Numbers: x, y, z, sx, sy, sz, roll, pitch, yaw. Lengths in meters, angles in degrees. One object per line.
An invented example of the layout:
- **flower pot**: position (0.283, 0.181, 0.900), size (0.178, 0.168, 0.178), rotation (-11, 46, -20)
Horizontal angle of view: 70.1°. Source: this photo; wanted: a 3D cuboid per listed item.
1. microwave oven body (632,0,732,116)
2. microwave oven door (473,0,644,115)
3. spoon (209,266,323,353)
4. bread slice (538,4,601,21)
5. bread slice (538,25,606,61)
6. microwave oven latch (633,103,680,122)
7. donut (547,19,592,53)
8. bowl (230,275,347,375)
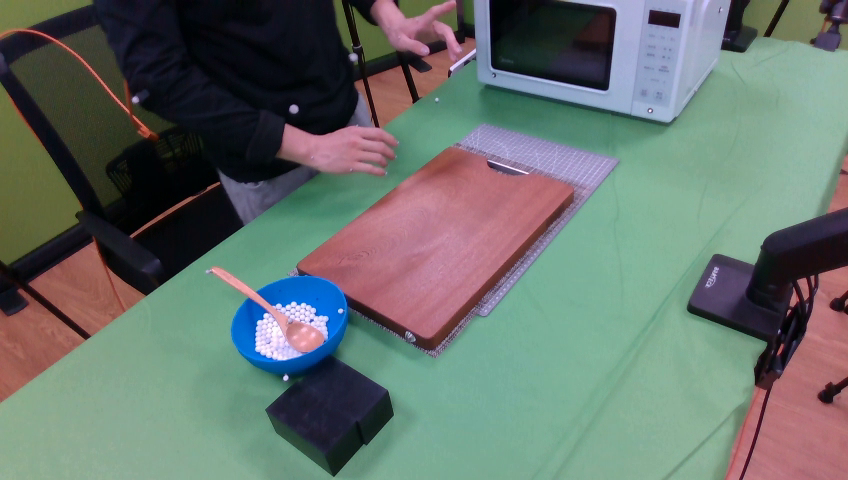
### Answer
- **microwave oven body**: position (0.377, -0.462, 1.267), size (0.438, 0.261, 0.327), rotation (21, 48, 30)
- **microwave oven door**: position (0.257, -0.396, 1.199), size (0.353, 0.245, 0.039), rotation (21, 48, 29)
- **spoon**: position (-0.213, 0.088, 0.806), size (0.193, 0.021, 0.042), rotation (37, 56, 11)
- **bread slice**: position (0.313, -0.483, 1.278), size (0.106, 0.018, 0.135), rotation (14, 31, 26)
- **bread slice**: position (0.334, -0.441, 1.337), size (0.132, 0.019, 0.104), rotation (-35, 43, -21)
- **microwave oven latch**: position (0.443, -0.249, 1.157), size (0.078, 0.029, 0.030), rotation (20, 48, 30)
- **donut**: position (0.313, -0.439, 1.300), size (0.099, 0.048, 0.098), rotation (-19, 36, 15)
- **bowl**: position (-0.171, 0.125, 0.802), size (0.151, 0.077, 0.150), rotation (-4, 40, 4)
